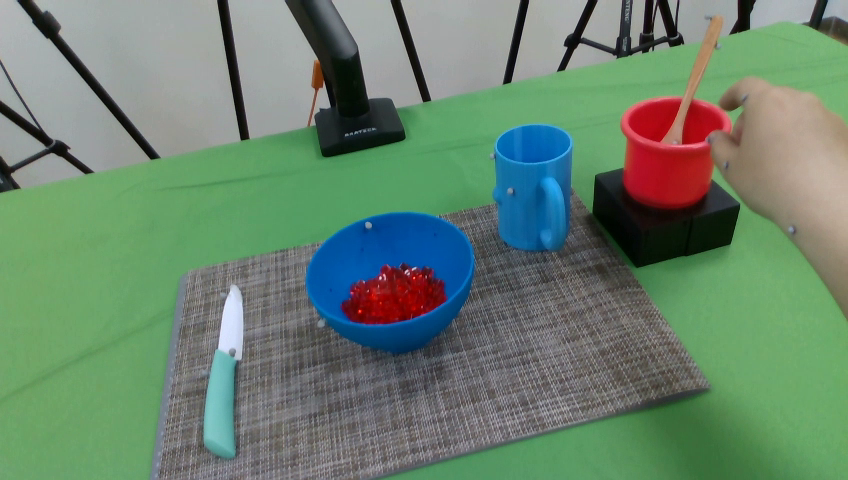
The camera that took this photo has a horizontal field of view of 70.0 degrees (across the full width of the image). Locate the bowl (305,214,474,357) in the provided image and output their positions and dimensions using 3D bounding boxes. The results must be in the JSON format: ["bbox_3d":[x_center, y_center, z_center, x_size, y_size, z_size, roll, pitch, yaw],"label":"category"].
[{"bbox_3d":[-0.026,0.053,0.554,0.151,0.077,0.150,-5,40,5],"label":"bowl"}]

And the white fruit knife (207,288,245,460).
[{"bbox_3d":[-0.182,0.113,0.563,0.027,0.016,0.205,12,32,-21],"label":"white fruit knife"}]

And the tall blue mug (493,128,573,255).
[{"bbox_3d":[0.123,-0.043,0.617,0.078,0.109,0.106,-31,44,-26],"label":"tall blue mug"}]

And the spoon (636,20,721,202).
[{"bbox_3d":[0.256,-0.127,0.594,0.041,0.022,0.193,21,92,33],"label":"spoon"}]
